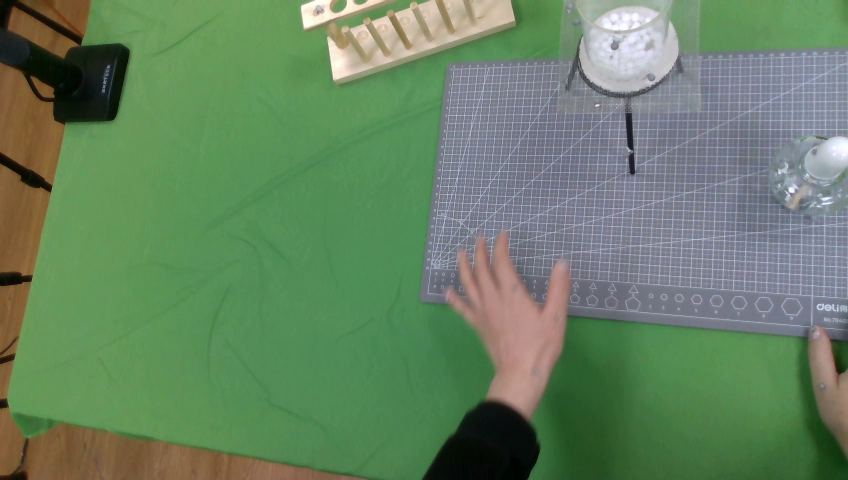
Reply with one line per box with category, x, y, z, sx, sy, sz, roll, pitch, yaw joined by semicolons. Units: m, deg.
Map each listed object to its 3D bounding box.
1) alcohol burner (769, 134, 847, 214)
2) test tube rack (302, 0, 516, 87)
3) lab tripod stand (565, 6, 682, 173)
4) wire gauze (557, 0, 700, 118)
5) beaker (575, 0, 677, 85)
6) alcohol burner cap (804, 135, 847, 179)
alcohol burner;0.364;-0.066;0.554;0.077;0.120;0.077;-3;78;16
test tube rack;-0.018;-0.270;0.740;0.242;0.086;0.066;-14;74;15
lab tripod stand;0.206;-0.156;0.614;0.148;0.132;0.147;-3;79;16
wire gauze;0.186;-0.171;0.553;0.124;0.011;0.121;3;83;16
beaker;0.167;-0.182;0.509;0.083;0.101;0.074;17;85;21
alcohol burner cap;0.353;-0.073;0.520;0.034;0.048;0.033;-2;81;15
